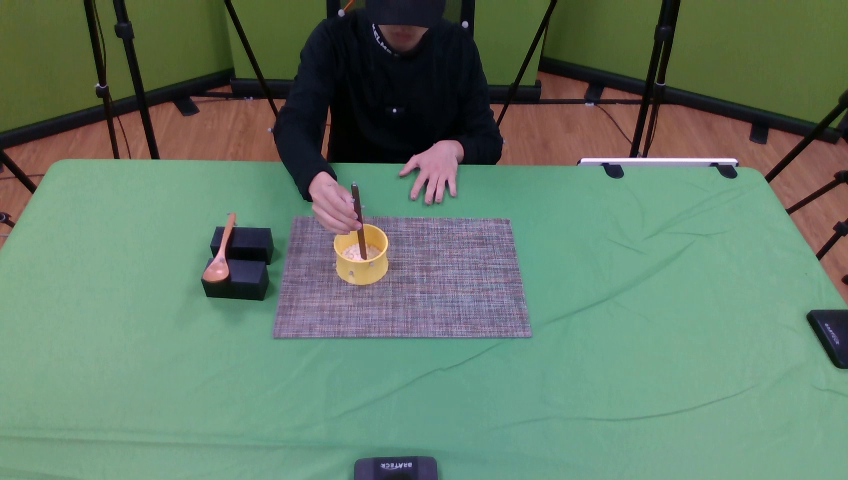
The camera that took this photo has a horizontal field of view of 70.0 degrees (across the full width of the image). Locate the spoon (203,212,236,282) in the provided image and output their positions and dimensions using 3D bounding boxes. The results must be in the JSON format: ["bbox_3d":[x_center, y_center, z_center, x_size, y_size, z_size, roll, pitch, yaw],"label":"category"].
[{"bbox_3d":[-0.361,0.009,1.097,0.041,0.022,0.192,0,44,-3],"label":"spoon"}]

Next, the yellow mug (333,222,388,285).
[{"bbox_3d":[-0.126,0.016,1.139,0.100,0.064,0.130,-24,51,-24],"label":"yellow mug"}]

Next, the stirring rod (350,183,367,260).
[{"bbox_3d":[-0.114,-0.029,1.062,0.014,0.177,0.006,24,50,25],"label":"stirring rod"}]
